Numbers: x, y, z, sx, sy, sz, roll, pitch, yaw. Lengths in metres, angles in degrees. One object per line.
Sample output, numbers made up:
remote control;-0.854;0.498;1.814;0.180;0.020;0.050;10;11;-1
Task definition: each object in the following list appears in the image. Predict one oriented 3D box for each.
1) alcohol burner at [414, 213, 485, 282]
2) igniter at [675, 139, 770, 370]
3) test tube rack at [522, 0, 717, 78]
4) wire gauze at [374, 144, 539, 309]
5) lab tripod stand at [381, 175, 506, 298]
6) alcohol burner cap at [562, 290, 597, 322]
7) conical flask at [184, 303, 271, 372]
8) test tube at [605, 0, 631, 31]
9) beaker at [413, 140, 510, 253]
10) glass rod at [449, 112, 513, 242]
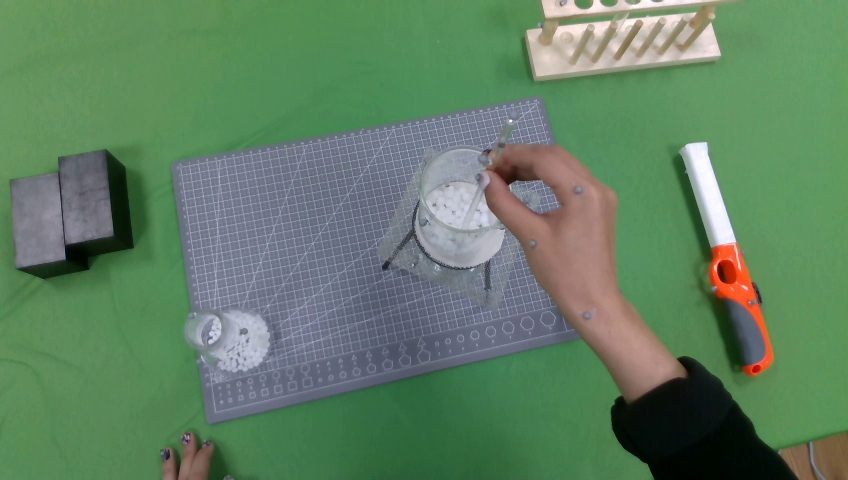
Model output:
alcohol burner;0.028;0.004;0.642;0.078;0.119;0.077;0;77;-1
igniter;0.347;0.012;0.707;0.057;0.025;0.275;-7;77;-16
test tube rack;0.251;-0.262;0.739;0.243;0.085;0.066;-8;76;-5
wire gauze;0.032;-0.016;0.569;0.125;0.011;0.121;25;79;1
lab tripod stand;0.026;-0.002;0.633;0.148;0.132;0.147;1;78;-2
alcohol burner cap;0.175;0.071;0.671;0.034;0.048;0.033;1;75;-3
conical flask;-0.200;0.091;0.601;0.075;0.122;0.075;1;76;-3
test tube;0.235;-0.286;0.692;0.017;0.151;0.017;0;76;0
beaker;0.031;-0.030;0.523;0.084;0.100;0.074;38;78;6
glass rod;0.039;-0.039;0.466;0.008;0.200;0.008;3;67;-7
